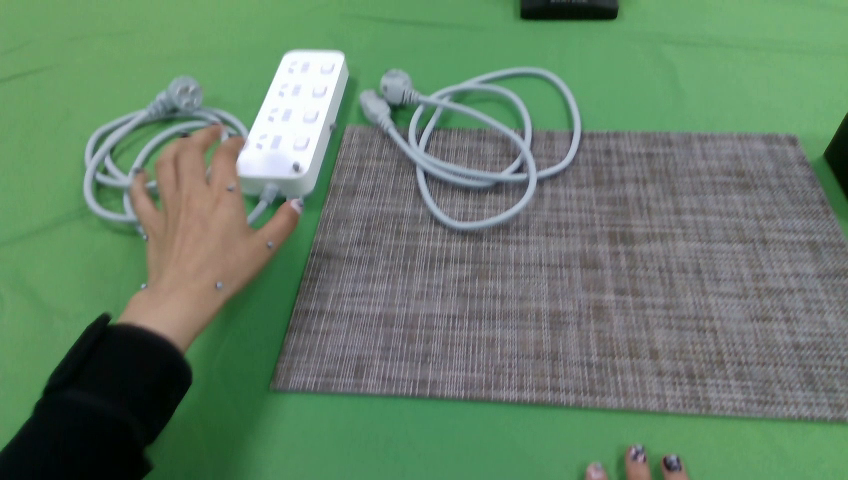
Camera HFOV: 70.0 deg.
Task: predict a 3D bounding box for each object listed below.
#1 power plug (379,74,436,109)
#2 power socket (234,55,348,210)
[{"bbox_3d":[-0.016,-0.151,0.649,0.072,0.035,0.052,32,31,8],"label":"power plug"},{"bbox_3d":[-0.131,-0.123,0.625,0.072,0.033,0.224,3,49,6],"label":"power socket"}]
